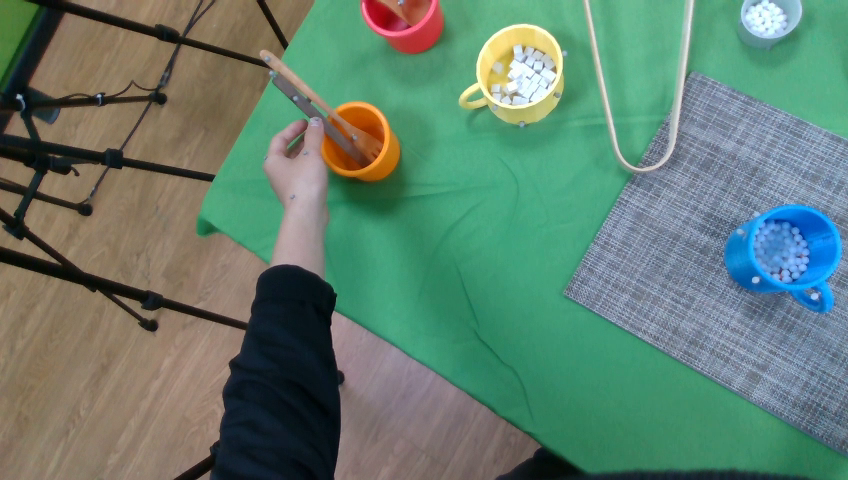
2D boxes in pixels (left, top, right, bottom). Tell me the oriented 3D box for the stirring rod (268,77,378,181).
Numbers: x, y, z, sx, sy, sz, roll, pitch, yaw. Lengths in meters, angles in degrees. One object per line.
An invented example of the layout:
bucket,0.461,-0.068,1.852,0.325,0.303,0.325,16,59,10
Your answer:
stirring rod,-0.119,-0.131,0.736,0.014,0.178,0.005,-54,32,-10

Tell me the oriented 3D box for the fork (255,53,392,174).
fork,-0.119,-0.151,0.734,0.209,0.018,0.028,39,95,-30

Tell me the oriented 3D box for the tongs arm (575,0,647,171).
tongs arm,0.203,-0.267,0.707,0.050,0.026,0.384,-9,90,9

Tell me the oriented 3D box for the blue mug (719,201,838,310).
blue mug,0.370,0.022,0.623,0.082,0.106,0.116,-35,78,8

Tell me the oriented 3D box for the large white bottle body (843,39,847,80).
large white bottle body,0.505,-0.208,0.574,0.130,0.185,0.130,-1,84,14

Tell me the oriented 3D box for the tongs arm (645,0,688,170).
tongs arm,0.285,-0.274,0.691,0.028,0.028,0.387,5,93,6

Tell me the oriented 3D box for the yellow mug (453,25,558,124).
yellow mug,0.096,-0.191,0.732,0.131,0.064,0.099,-23,81,12

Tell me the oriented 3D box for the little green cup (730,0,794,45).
little green cup,0.378,-0.252,0.684,0.061,0.039,0.061,-1,86,14

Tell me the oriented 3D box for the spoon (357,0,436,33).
spoon,-0.074,-0.294,0.740,0.195,0.021,0.041,7,84,-30
